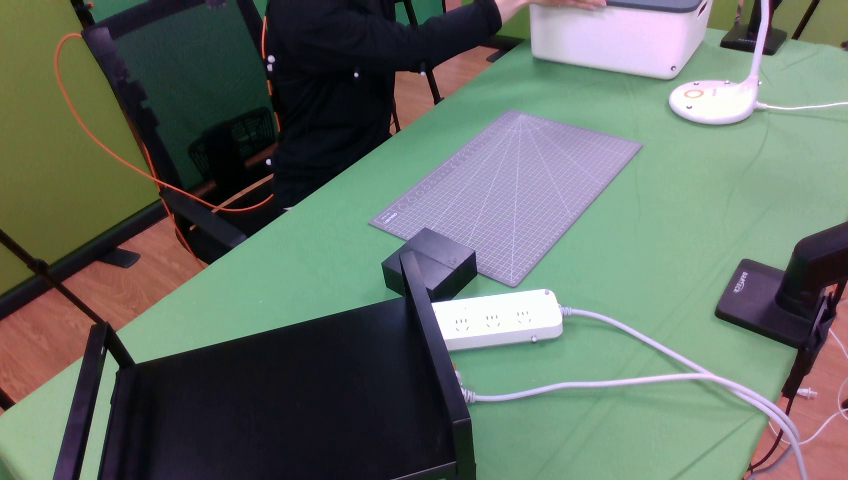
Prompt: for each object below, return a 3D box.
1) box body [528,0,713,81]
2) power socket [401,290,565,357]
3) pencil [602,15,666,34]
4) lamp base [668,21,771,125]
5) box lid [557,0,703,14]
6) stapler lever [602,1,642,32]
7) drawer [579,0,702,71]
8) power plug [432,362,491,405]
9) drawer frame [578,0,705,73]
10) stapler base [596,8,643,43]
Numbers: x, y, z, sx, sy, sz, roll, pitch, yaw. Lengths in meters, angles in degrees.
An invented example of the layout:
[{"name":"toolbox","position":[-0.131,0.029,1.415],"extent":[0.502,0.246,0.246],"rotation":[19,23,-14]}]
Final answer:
[{"name":"box body","position":[0.450,-0.513,1.398],"extent":[0.361,0.161,0.254],"rotation":[19,48,28]},{"name":"power socket","position":[0.080,0.113,0.822],"extent":[0.227,0.033,0.072],"rotation":[-7,41,0]},{"name":"pencil","position":[0.484,-0.494,1.390],"extent":[0.195,0.012,0.012],"rotation":[-21,42,-21]},{"name":"lamp base","position":[0.577,-0.333,1.155],"extent":[0.179,0.181,0.160],"rotation":[6,42,12]},{"name":"box lid","position":[0.439,-0.572,1.344],"extent":[0.369,0.015,0.264],"rotation":[19,47,27]},{"name":"stapler lever","position":[0.452,-0.517,1.380],"extent":[0.118,0.040,0.026],"rotation":[-39,61,-18]},{"name":"drawer","position":[0.485,-0.489,1.363],"extent":[0.210,0.073,0.194],"rotation":[25,62,21]},{"name":"power plug","position":[0.045,0.182,0.758],"extent":[0.073,0.035,0.052],"rotation":[21,43,-18]},{"name":"drawer frame","position":[0.487,-0.488,1.361],"extent":[0.212,0.083,0.202],"rotation":[23,61,22]},{"name":"stapler base","position":[0.454,-0.502,1.399],"extent":[0.131,0.024,0.041],"rotation":[-38,61,-20]}]
